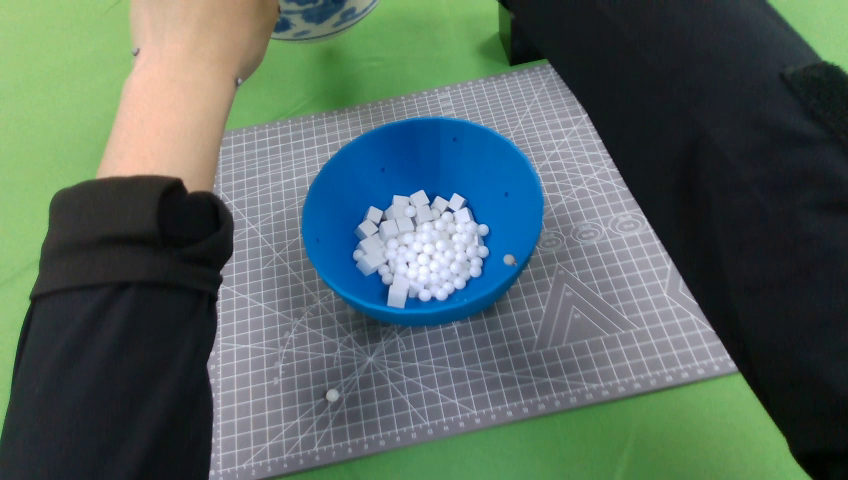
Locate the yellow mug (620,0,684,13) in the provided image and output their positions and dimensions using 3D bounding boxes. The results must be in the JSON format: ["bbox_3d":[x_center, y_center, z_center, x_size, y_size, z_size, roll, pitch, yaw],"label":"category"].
[{"bbox_3d":[0.180,-0.234,0.475,0.099,0.064,0.130,17,63,18],"label":"yellow mug"}]

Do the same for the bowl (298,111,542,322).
[{"bbox_3d":[0.001,-0.004,0.400,0.151,0.077,0.150,-3,57,5],"label":"bowl"}]

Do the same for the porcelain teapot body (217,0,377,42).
[{"bbox_3d":[-0.133,-0.260,0.416,0.205,0.227,0.144,1,64,3],"label":"porcelain teapot body"}]
